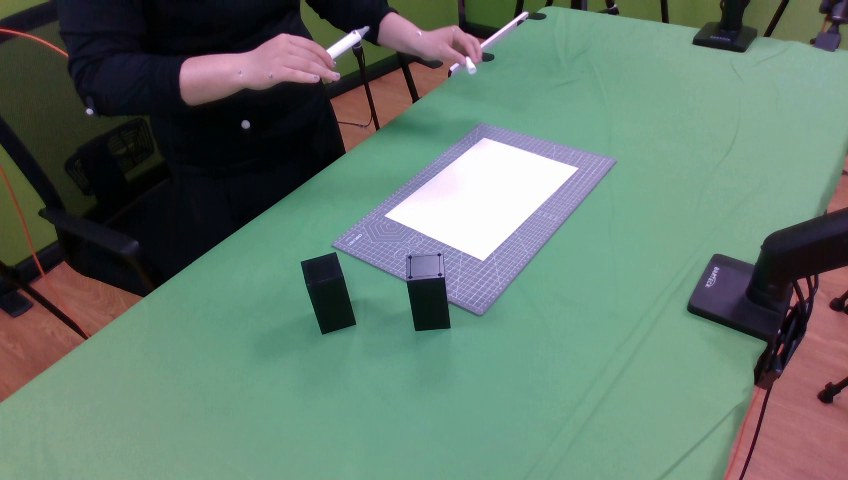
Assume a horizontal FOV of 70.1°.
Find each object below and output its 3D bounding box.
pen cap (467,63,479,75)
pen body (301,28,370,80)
[{"bbox_3d":[0.096,-0.334,1.179,0.017,0.017,0.038,8,33,18],"label":"pen cap"},{"bbox_3d":[-0.134,-0.293,0.940,0.017,0.017,0.144,29,62,36],"label":"pen body"}]
